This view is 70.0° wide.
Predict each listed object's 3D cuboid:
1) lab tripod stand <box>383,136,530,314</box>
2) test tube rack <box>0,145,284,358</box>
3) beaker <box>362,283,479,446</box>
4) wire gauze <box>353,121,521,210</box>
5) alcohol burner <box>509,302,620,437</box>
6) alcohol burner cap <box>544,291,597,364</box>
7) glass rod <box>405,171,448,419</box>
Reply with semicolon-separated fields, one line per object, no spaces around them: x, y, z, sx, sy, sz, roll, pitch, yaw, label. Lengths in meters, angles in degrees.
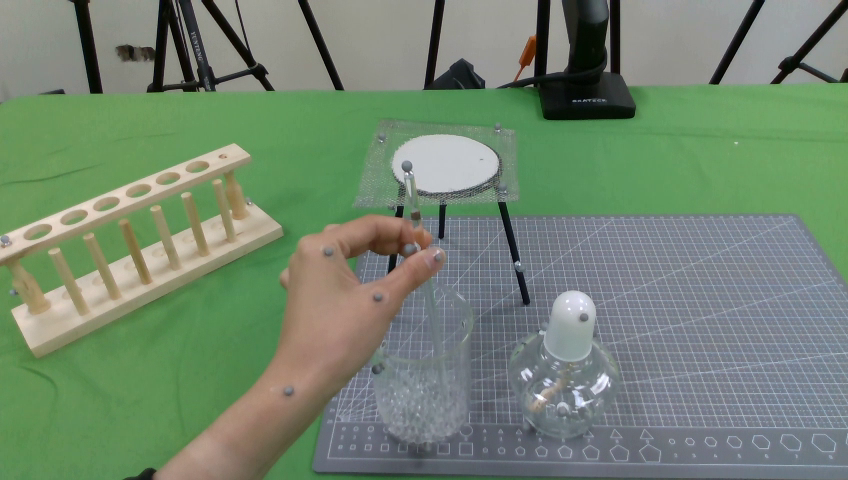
0.025;-0.011;0.524;0.148;0.132;0.147;0;38;1;lab tripod stand
-0.260;0.002;0.568;0.242;0.086;0.066;-30;46;-30;test tube rack
-0.003;0.089;0.428;0.074;0.101;0.083;-31;46;-31;beaker
0.014;-0.062;0.480;0.121;0.011;0.124;2;40;5;wire gauze
0.098;0.082;0.419;0.078;0.120;0.077;-1;41;2;alcohol burner
0.098;0.054;0.396;0.034;0.048;0.033;0;41;0;alcohol burner cap
0.003;0.046;0.395;0.008;0.201;0.008;-5;32;4;glass rod
